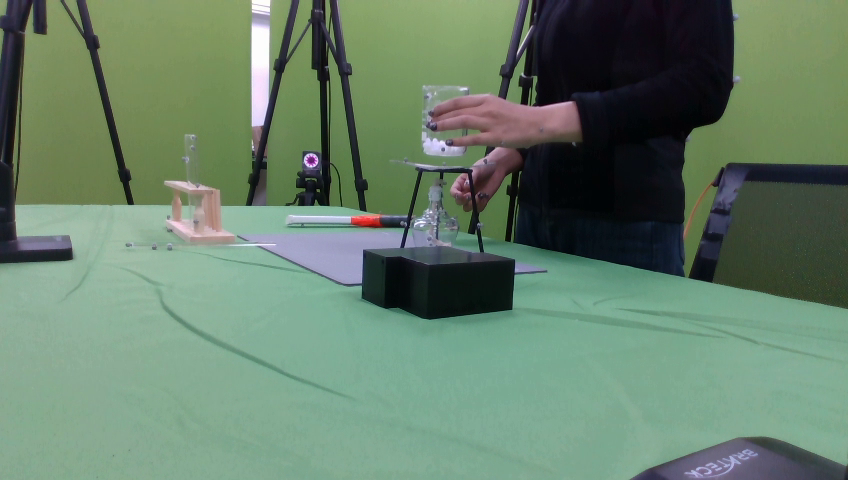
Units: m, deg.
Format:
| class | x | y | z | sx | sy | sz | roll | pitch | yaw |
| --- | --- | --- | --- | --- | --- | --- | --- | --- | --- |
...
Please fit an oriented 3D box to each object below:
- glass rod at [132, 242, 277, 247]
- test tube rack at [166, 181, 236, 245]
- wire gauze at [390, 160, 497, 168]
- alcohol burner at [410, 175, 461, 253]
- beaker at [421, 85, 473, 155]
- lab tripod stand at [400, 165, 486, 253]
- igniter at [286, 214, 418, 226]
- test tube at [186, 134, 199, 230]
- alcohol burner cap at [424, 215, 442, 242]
| class | x | y | z | sx | sy | sz | roll | pitch | yaw |
| --- | --- | --- | --- | --- | --- | --- | --- | --- | --- |
| glass rod | -0.316 | 0.007 | 0.884 | 0.201 | 0.008 | 0.008 | 0 | 7 | -27 |
| test tube rack | -0.383 | -0.051 | 1.024 | 0.067 | 0.085 | 0.241 | -2 | 9 | -31 |
| wire gauze | 0.028 | -0.115 | 0.919 | 0.122 | 0.011 | 0.124 | -4 | 9 | -34 |
| alcohol burner | 0.018 | -0.040 | 0.931 | 0.078 | 0.119 | 0.078 | 0 | 7 | 0 |
| beaker | 0.030 | -0.180 | 0.908 | 0.074 | 0.100 | 0.083 | -7 | 15 | -35 |
| lab tripod stand | 0.027 | -0.049 | 0.930 | 0.148 | 0.131 | 0.148 | 2 | 9 | 0 |
| igniter | -0.145 | -0.043 | 1.263 | 0.278 | 0.025 | 0.057 | -1 | -2 | -24 |
| test tube | -0.360 | -0.089 | 0.946 | 0.017 | 0.150 | 0.017 | 0 | 10 | 0 |
| alcohol burner cap | 0.017 | -0.022 | 1.098 | 0.034 | 0.048 | 0.034 | 2 | 8 | 0 |
